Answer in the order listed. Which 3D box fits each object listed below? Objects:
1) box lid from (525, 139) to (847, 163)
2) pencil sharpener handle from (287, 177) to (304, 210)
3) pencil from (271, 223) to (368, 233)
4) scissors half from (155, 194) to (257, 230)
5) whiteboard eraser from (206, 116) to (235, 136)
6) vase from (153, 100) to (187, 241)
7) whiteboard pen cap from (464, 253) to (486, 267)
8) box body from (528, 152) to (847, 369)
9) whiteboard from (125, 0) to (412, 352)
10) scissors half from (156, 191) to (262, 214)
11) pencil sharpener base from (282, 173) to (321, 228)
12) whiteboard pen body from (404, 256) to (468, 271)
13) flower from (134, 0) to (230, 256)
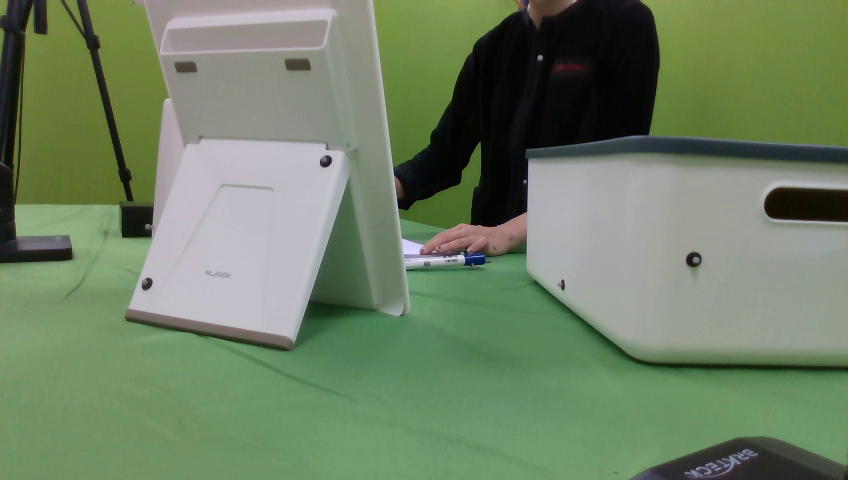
[{"bbox_3d":[0.261,-0.078,0.580,0.264,0.015,0.371,2,7,-4],"label":"box lid"},{"bbox_3d":[-0.269,-0.096,1.257,0.036,0.067,0.030,-8,8,-27],"label":"pencil sharpener handle"},{"bbox_3d":[-0.172,-0.018,1.029,0.195,0.012,0.012,3,5,-44],"label":"pencil"},{"bbox_3d":[-0.378,-0.051,1.058,0.176,0.040,0.012,20,22,-31],"label":"scissors half"},{"bbox_3d":[-0.450,-0.252,1.335,0.056,0.042,0.112,1,7,-22],"label":"whiteboard eraser"},{"bbox_3d":[-0.278,-0.066,0.736,0.098,0.200,0.098,2,9,0],"label":"vase"},{"bbox_3d":[0.066,0.027,0.818,0.033,0.018,0.018,-5,10,-24],"label":"whiteboard pen cap"},{"bbox_3d":[0.258,-0.005,0.591,0.254,0.160,0.363,2,7,-4],"label":"box body"},{"bbox_3d":[-0.151,-0.049,0.472,0.216,0.305,0.144,6,27,24],"label":"whiteboard"},{"bbox_3d":[-0.371,-0.069,1.051,0.176,0.040,0.013,2,25,-24],"label":"scissors half"},{"bbox_3d":[-0.247,-0.080,1.212,0.061,0.107,0.076,-2,5,-28],"label":"pencil sharpener base"},{"bbox_3d":[0.013,0.030,0.792,0.141,0.017,0.017,-3,9,-24],"label":"whiteboard pen body"},{"bbox_3d":[-0.282,-0.147,0.713,0.038,0.362,0.044,-23,24,-31],"label":"flower"}]
